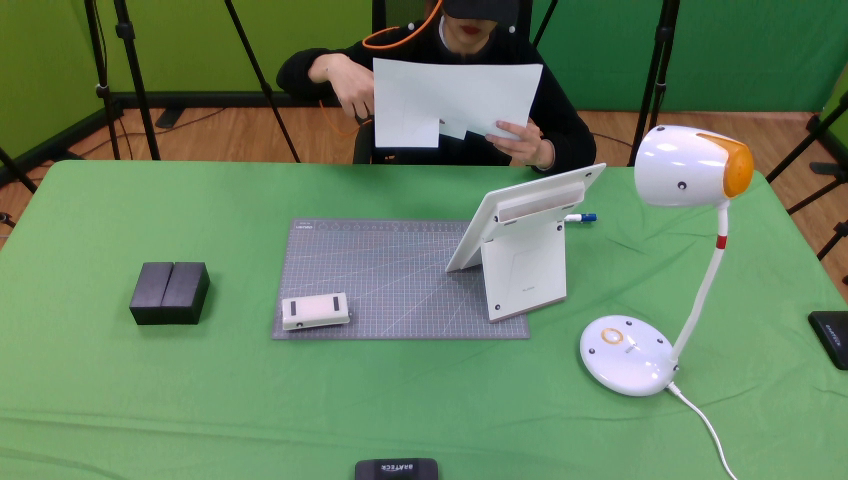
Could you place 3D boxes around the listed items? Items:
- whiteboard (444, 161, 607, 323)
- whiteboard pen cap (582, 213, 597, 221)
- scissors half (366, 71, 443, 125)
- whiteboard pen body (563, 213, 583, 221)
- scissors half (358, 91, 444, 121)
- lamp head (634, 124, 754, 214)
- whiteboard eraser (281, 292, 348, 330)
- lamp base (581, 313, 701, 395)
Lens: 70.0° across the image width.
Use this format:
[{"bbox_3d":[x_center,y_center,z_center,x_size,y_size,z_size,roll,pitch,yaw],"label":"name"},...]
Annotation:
[{"bbox_3d":[0.186,0.025,1.029,0.217,0.306,0.143,-14,68,-18],"label":"whiteboard"},{"bbox_3d":[0.342,-0.048,1.260,0.033,0.018,0.018,-3,46,-3],"label":"whiteboard pen cap"},{"bbox_3d":[-0.035,-0.274,1.181,0.176,0.040,0.012,34,3,-16],"label":"scissors half"},{"bbox_3d":[0.283,-0.047,1.257,0.141,0.017,0.017,-1,46,-2],"label":"whiteboard pen body"},{"bbox_3d":[-0.044,-0.254,1.184,0.175,0.040,0.013,10,14,-12],"label":"scissors half"},{"bbox_3d":[0.351,-0.089,0.776,0.112,0.113,0.122,-30,30,-28],"label":"lamp head"},{"bbox_3d":[-0.189,0.124,1.045,0.113,0.042,0.055,-6,46,-10],"label":"whiteboard eraser"},{"bbox_3d":[0.361,0.144,0.972,0.178,0.181,0.160,34,53,23],"label":"lamp base"}]
